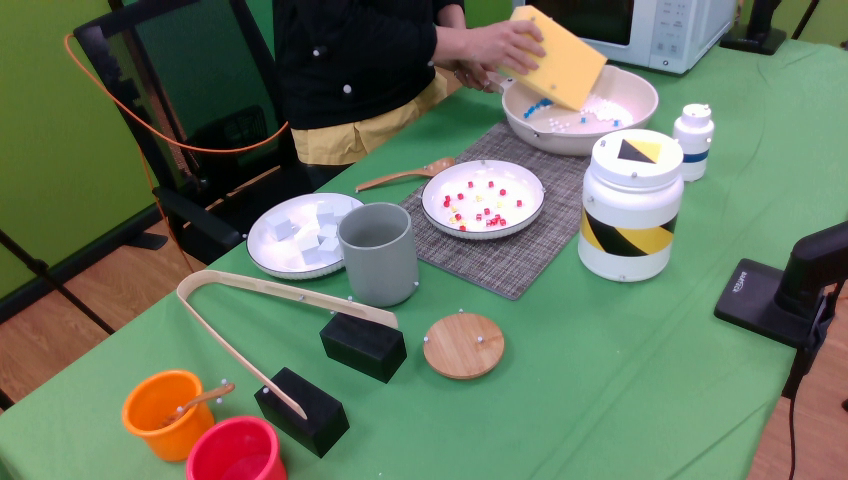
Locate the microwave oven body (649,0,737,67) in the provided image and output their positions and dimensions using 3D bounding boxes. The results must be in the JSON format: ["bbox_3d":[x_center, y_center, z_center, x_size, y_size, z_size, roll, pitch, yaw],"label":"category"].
[{"bbox_3d":[0.475,-0.602,1.411,0.438,0.261,0.327,23,50,32],"label":"microwave oven body"}]

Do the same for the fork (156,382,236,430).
[{"bbox_3d":[-0.262,0.189,0.690,0.018,0.206,0.028,49,43,-7],"label":"fork"}]

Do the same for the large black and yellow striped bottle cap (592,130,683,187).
[{"bbox_3d":[0.282,-0.111,0.803,0.115,0.019,0.114,-3,41,3],"label":"large black and yellow striped bottle cap"}]

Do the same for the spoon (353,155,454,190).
[{"bbox_3d":[-0.038,-0.123,1.116,0.194,0.022,0.041,-12,57,-4],"label":"spoon"}]

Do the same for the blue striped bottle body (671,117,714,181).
[{"bbox_3d":[0.449,-0.165,1.022,0.063,0.121,0.063,-5,41,4],"label":"blue striped bottle body"}]

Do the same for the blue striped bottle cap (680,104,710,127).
[{"bbox_3d":[0.443,-0.205,0.989,0.044,0.021,0.044,-2,41,2],"label":"blue striped bottle cap"}]

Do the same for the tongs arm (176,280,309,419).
[{"bbox_3d":[-0.254,0.133,0.801,0.028,0.028,0.384,-41,41,-23],"label":"tongs arm"}]

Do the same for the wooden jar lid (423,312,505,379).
[{"bbox_3d":[0.053,0.142,0.800,0.108,0.021,0.108,-5,39,4],"label":"wooden jar lid"}]

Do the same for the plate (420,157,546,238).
[{"bbox_3d":[0.099,-0.067,1.017,0.209,0.038,0.208,-4,40,4],"label":"plate"}]

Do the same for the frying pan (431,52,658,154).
[{"bbox_3d":[0.216,-0.302,1.223,0.484,0.103,0.308,29,49,24],"label":"frying pan"}]

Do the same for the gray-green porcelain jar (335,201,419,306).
[{"bbox_3d":[-0.064,0.024,0.872,0.106,0.127,0.105,-4,41,4],"label":"gray-green porcelain jar"}]

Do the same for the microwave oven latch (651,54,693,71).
[{"bbox_3d":[0.531,-0.386,1.301,0.078,0.029,0.030,26,51,33],"label":"microwave oven latch"}]

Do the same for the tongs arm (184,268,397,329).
[{"bbox_3d":[-0.202,0.084,0.848,0.382,0.027,0.051,11,45,35],"label":"tongs arm"}]

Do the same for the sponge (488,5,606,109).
[{"bbox_3d":[0.247,-0.361,1.206,0.208,0.118,0.060,23,9,-26],"label":"sponge"}]

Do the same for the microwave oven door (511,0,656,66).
[{"bbox_3d":[0.351,-0.540,1.349,0.353,0.245,0.039,24,50,31],"label":"microwave oven door"}]

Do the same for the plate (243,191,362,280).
[{"bbox_3d":[-0.187,-0.005,0.992,0.207,0.039,0.206,-4,41,4],"label":"plate"}]

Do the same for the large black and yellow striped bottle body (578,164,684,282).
[{"bbox_3d":[0.292,-0.046,0.859,0.131,0.185,0.130,-4,41,4],"label":"large black and yellow striped bottle body"}]
